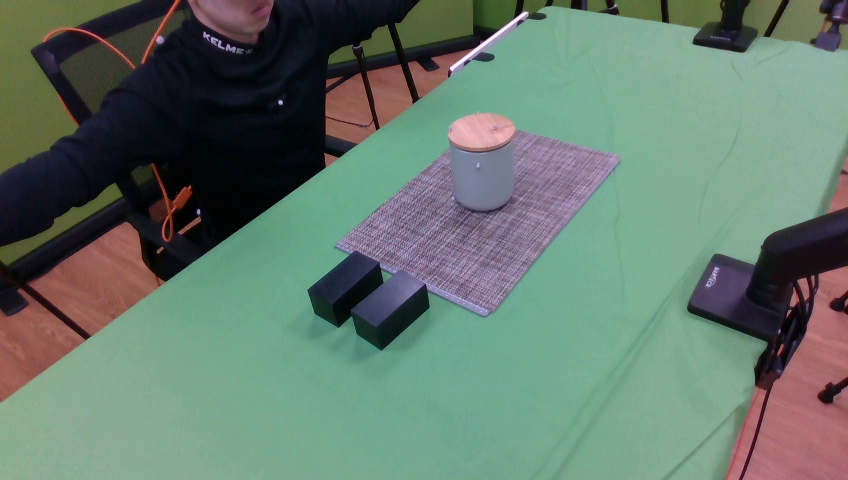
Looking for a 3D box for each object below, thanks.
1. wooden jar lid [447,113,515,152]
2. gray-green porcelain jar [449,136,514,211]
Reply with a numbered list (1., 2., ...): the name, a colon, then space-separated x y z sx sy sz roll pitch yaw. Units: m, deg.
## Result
1. wooden jar lid: 0.091 -0.169 0.967 0.108 0.021 0.108 -5 39 4
2. gray-green porcelain jar: 0.098 -0.120 1.009 0.106 0.127 0.105 -4 41 4
